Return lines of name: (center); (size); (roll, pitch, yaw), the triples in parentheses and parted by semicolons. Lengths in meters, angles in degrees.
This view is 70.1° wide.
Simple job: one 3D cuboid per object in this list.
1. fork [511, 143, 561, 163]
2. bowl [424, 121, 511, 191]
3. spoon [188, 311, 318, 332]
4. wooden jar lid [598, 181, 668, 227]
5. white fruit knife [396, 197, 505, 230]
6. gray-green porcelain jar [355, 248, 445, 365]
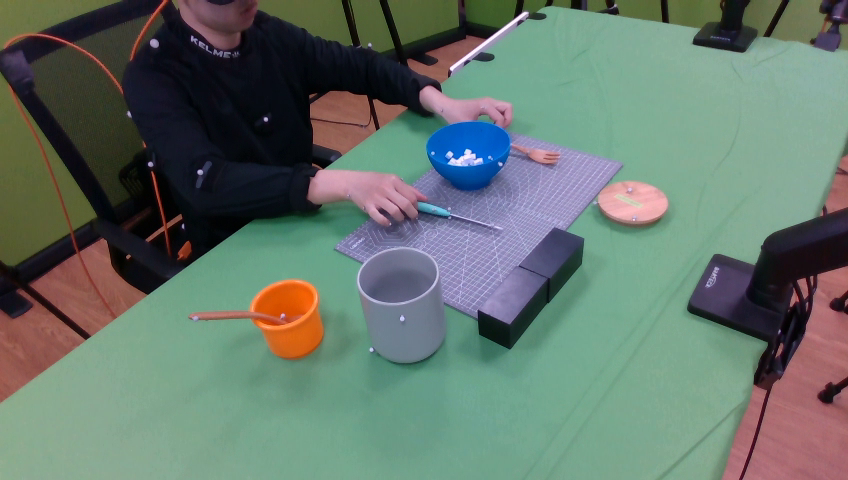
fork: (0.166, -0.177, 1.149); (0.206, 0.019, 0.028); (21, 78, 30)
bowl: (0.081, -0.140, 1.074); (0.151, 0.077, 0.150); (-4, 40, 4)
spoon: (-0.216, 0.102, 0.783); (0.041, 0.195, 0.021); (27, 95, 39)
wooden jar lid: (0.340, -0.058, 0.988); (0.108, 0.021, 0.108); (-5, 41, 5)
white fruit knife: (0.039, -0.043, 1.010); (0.206, 0.016, 0.027); (15, 1, 24)
gray-green porcelain jar: (-0.027, 0.091, 0.786); (0.106, 0.127, 0.105); (-4, 40, 4)
